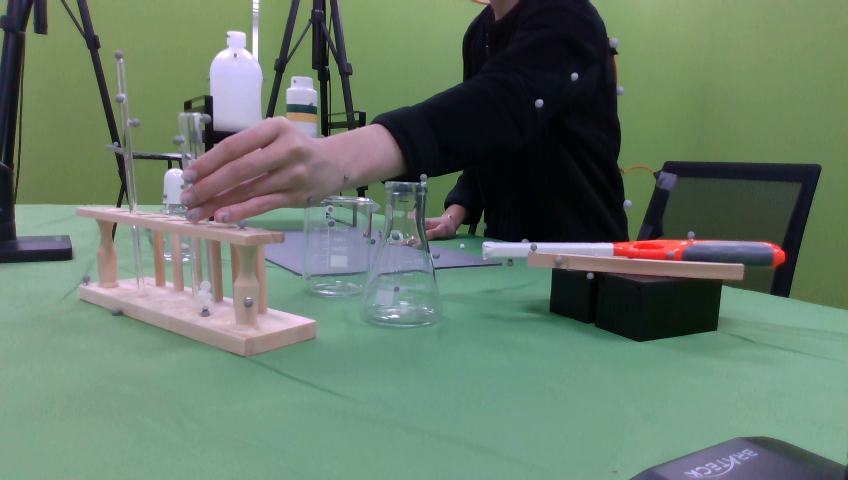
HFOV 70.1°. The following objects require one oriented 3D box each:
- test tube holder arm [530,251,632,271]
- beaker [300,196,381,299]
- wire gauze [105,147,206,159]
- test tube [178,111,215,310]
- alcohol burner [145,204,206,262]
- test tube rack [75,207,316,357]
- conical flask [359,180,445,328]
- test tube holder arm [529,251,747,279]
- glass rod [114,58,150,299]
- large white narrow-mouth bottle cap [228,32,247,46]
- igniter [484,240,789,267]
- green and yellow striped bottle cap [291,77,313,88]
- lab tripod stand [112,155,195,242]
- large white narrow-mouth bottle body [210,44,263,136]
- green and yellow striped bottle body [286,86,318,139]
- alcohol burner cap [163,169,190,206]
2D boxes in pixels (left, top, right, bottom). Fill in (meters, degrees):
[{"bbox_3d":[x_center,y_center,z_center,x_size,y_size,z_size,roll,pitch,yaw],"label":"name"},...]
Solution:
[{"bbox_3d":[0.139,0.019,0.538,0.087,0.015,0.010,3,8,13],"label":"test tube holder arm"},{"bbox_3d":[-0.087,0.006,0.626,0.084,0.100,0.074,1,8,-17],"label":"beaker"},{"bbox_3d":[-0.408,-0.131,0.929,0.125,0.011,0.121,2,5,-11],"label":"wire gauze"},{"bbox_3d":[-0.171,-0.020,0.455,0.017,0.150,0.017,-1,10,0],"label":"test tube"},{"bbox_3d":[-0.322,-0.031,0.788,0.078,0.119,0.078,1,7,0],"label":"alcohol burner"},{"bbox_3d":[-0.196,0.023,0.500,0.241,0.085,0.067,7,9,36],"label":"test tube rack"},{"bbox_3d":[-0.017,0.010,0.522,0.075,0.122,0.075,2,7,0],"label":"conical flask"},{"bbox_3d":[0.182,0.022,0.523,0.178,0.015,0.013,3,8,12],"label":"test tube holder arm"},{"bbox_3d":[-0.237,-0.044,0.492,0.008,0.199,0.008,1,15,0],"label":"glass rod"},{"bbox_3d":[-0.364,-0.390,1.180,0.038,0.024,0.037,3,8,0],"label":"large white narrow-mouth bottle cap"},{"bbox_3d":[0.197,0.012,0.585,0.276,0.025,0.057,1,5,11],"label":"igniter"},{"bbox_3d":[-0.250,-0.321,1.237,0.045,0.020,0.045,4,5,0],"label":"green and yellow striped bottle cap"},{"bbox_3d":[-0.405,-0.064,0.931,0.148,0.131,0.148,1,6,0],"label":"lab tripod stand"},{"bbox_3d":[-0.369,-0.305,1.194,0.102,0.194,0.102,3,8,0],"label":"large white narrow-mouth bottle body"},{"bbox_3d":[-0.251,-0.270,1.245,0.063,0.119,0.063,2,7,0],"label":"green and yellow striped bottle body"},{"bbox_3d":[-0.321,-0.067,0.782,0.034,0.048,0.034,2,7,0],"label":"alcohol burner cap"}]
